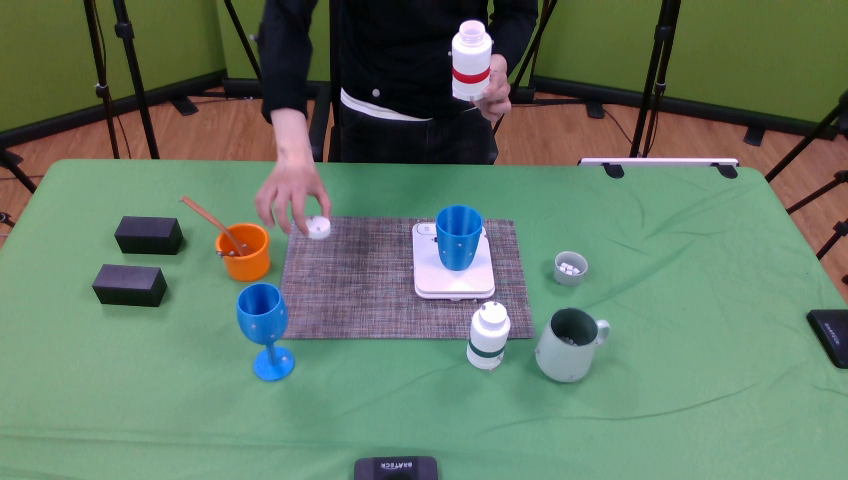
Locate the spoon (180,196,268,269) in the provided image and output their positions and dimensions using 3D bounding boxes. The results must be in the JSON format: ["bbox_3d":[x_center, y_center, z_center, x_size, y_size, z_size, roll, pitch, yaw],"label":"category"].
[{"bbox_3d":[-0.359,-0.014,1.095,0.021,0.194,0.041,-28,26,31],"label":"spoon"}]

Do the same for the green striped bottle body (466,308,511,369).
[{"bbox_3d":[0.106,0.154,0.988,0.063,0.120,0.063,2,46,-2],"label":"green striped bottle body"}]

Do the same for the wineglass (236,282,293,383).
[{"bbox_3d":[-0.243,0.143,0.934,0.074,0.173,0.073,2,46,-2],"label":"wineglass"}]

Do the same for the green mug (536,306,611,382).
[{"bbox_3d":[0.250,0.167,0.996,0.125,0.105,0.092,-15,49,-19],"label":"green mug"}]

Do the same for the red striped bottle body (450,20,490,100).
[{"bbox_3d":[0.074,-0.290,0.974,0.063,0.120,0.062,-2,55,2],"label":"red striped bottle body"}]

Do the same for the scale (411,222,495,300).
[{"bbox_3d":[0.052,0.031,1.158,0.149,0.032,0.199,1,46,-4],"label":"scale"}]

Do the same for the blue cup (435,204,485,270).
[{"bbox_3d":[0.061,0.001,1.097,0.092,0.101,0.092,0,44,0],"label":"blue cup"}]

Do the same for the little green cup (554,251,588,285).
[{"bbox_3d":[0.277,0.055,1.151,0.061,0.039,0.061,1,46,-1],"label":"little green cup"}]

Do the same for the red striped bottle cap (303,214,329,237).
[{"bbox_3d":[-0.183,-0.026,1.024,0.044,0.018,0.044,3,40,-2],"label":"red striped bottle cap"}]

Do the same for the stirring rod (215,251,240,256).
[{"bbox_3d":[-0.340,0.024,1.059,0.014,0.176,0.006,16,86,-6],"label":"stirring rod"}]

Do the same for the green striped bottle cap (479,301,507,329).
[{"bbox_3d":[0.109,0.118,0.950,0.044,0.020,0.044,2,47,-2],"label":"green striped bottle cap"}]
